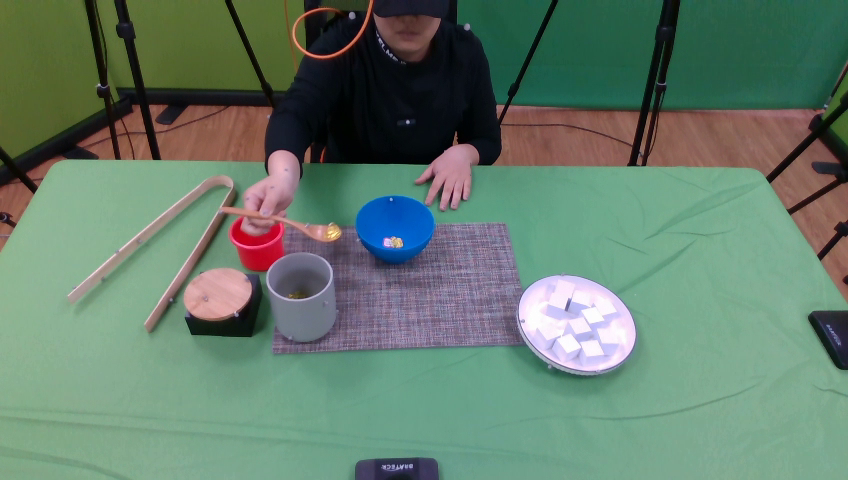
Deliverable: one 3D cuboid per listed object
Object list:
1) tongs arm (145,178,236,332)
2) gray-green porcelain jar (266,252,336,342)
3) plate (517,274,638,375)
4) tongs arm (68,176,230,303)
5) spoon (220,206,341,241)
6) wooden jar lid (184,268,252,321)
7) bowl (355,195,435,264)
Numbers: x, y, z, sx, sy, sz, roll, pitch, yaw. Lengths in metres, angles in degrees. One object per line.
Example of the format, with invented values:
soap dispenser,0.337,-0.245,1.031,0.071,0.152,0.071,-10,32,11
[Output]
tongs arm,-0.432,0.014,1.149,0.028,0.028,0.385,8,46,7
gray-green porcelain jar,-0.202,0.100,1.009,0.106,0.127,0.105,2,46,-2
plate,0.264,0.149,1.060,0.209,0.038,0.208,3,46,-3
tongs arm,-0.510,-0.011,1.162,0.050,0.026,0.383,20,47,14
spoon,-0.229,-0.031,0.977,0.194,0.022,0.041,16,38,-20
wooden jar lid,-0.343,0.093,1.015,0.108,0.021,0.107,3,46,-3
bowl,-0.056,-0.008,1.158,0.151,0.077,0.150,2,46,-2
